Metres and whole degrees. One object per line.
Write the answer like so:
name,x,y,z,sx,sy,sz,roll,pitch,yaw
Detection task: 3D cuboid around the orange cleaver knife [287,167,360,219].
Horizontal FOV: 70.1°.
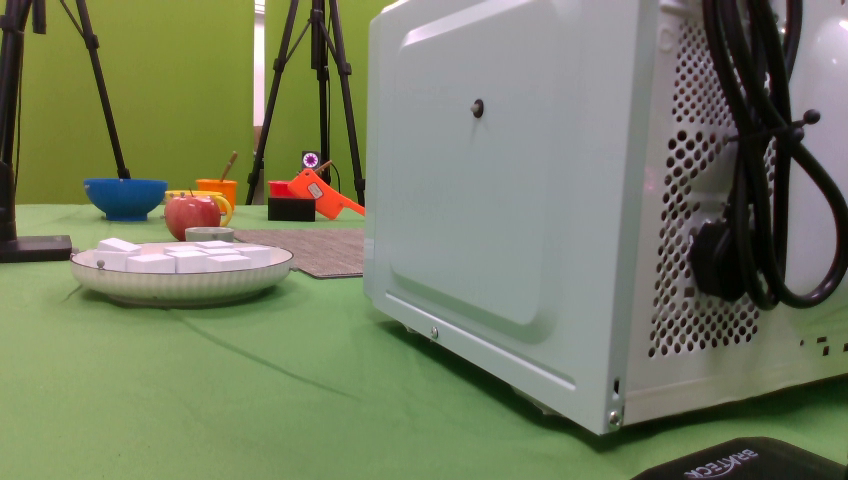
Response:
orange cleaver knife,-0.209,-0.089,1.383,0.212,0.077,0.012,31,4,-15

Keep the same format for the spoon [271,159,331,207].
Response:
spoon,-0.308,-0.142,1.514,0.193,0.021,0.041,-41,5,9

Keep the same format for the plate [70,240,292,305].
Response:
plate,-0.242,0.031,0.618,0.208,0.039,0.207,2,8,0

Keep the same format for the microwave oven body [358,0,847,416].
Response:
microwave oven body,0.211,-0.047,0.474,0.444,0.260,0.324,-1,7,-28

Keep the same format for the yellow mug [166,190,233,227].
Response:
yellow mug,-0.415,-0.057,1.132,0.130,0.064,0.100,6,8,16

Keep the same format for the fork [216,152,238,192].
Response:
fork,-0.455,-0.132,1.367,0.028,0.018,0.207,-2,-35,-37

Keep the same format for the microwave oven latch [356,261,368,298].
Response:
microwave oven latch,-0.020,0.033,0.529,0.079,0.029,0.030,0,7,-25

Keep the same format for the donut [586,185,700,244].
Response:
donut,0.199,-0.023,0.553,0.099,0.048,0.099,9,7,-1

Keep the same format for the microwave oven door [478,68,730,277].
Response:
microwave oven door,0.219,-0.097,0.825,0.039,0.243,0.354,-5,10,-42

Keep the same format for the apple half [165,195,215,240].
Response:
apple half,-0.377,-0.038,0.964,0.082,0.081,0.032,-4,15,-39

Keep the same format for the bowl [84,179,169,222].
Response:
bowl,-0.584,-0.078,1.194,0.151,0.077,0.151,3,8,0

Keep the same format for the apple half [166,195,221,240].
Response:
apple half,-0.351,-0.031,0.935,0.081,0.074,0.053,1,11,-40

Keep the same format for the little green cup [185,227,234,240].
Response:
little green cup,-0.285,0.005,0.805,0.061,0.038,0.061,2,8,0

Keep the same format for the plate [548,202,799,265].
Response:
plate,0.216,-0.008,0.545,0.209,0.038,0.209,3,7,0
